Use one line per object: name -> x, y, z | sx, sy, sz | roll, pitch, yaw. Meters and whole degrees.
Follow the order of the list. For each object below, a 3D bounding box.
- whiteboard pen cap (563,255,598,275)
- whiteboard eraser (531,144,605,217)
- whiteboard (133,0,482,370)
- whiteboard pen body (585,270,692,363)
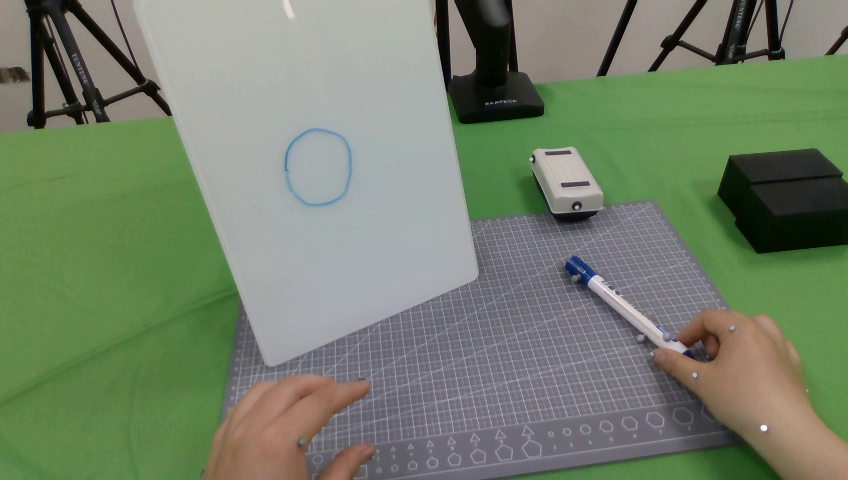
whiteboard pen cap -> 0.150, 0.025, 0.585 | 0.033, 0.018, 0.018 | 10, 42, 10
whiteboard eraser -> 0.159, -0.068, 0.679 | 0.055, 0.042, 0.111 | -6, 37, -2
whiteboard -> -0.096, -0.082, 0.550 | 0.217, 0.307, 0.142 | -21, 25, -20
whiteboard pen body -> 0.183, 0.060, 0.546 | 0.017, 0.017, 0.139 | -22, 44, -21
